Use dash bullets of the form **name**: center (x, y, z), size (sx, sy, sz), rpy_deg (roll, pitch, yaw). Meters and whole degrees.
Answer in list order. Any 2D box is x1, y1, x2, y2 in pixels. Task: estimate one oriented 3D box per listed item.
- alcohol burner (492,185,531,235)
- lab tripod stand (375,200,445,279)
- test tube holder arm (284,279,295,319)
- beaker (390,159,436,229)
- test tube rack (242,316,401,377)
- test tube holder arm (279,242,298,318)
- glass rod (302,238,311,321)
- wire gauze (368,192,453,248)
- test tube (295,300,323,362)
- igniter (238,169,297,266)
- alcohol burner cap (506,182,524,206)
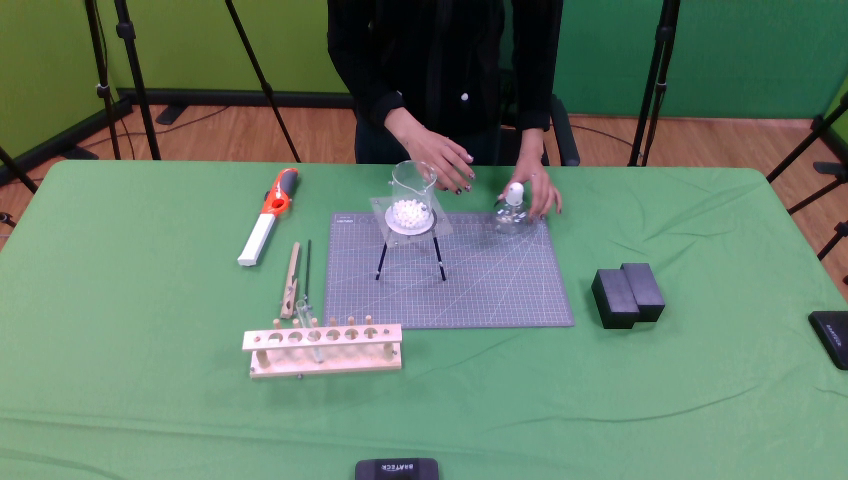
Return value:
- **alcohol burner**: center (0.177, -0.068, 1.212), size (0.078, 0.119, 0.077), rpy_deg (2, 48, -2)
- **lab tripod stand**: center (-0.023, 0.003, 1.113), size (0.148, 0.132, 0.147), rpy_deg (4, 45, -3)
- **test tube holder arm**: center (-0.241, 0.103, 1.085), size (0.010, 0.015, 0.087), rpy_deg (25, 38, -26)
- **beaker**: center (-0.020, -0.073, 1.029), size (0.074, 0.101, 0.083), rpy_deg (-10, 48, -16)
- **test tube rack**: center (-0.161, 0.166, 0.983), size (0.242, 0.085, 0.066), rpy_deg (-2, 46, -6)
- **test tube holder arm**: center (-0.248, 0.069, 1.114), size (0.013, 0.015, 0.177), rpy_deg (25, 38, -26)
- **glass rod**: center (-0.217, 0.069, 1.125), size (0.008, 0.008, 0.198), rpy_deg (-1, 47, -5)
- **wire gauze**: center (-0.025, -0.041, 1.065), size (0.122, 0.011, 0.124), rpy_deg (-10, 46, -18)
- **test tube**: center (-0.176, 0.143, 0.935), size (0.017, 0.151, 0.017), rpy_deg (-2, 46, 2)
- **igniter**: center (-0.313, -0.055, 1.224), size (0.057, 0.025, 0.275), rpy_deg (1, 45, 10)
- **alcohol burner cap**: center (0.180, -0.092, 1.185), size (0.034, 0.048, 0.033), rpy_deg (1, 55, -1)
